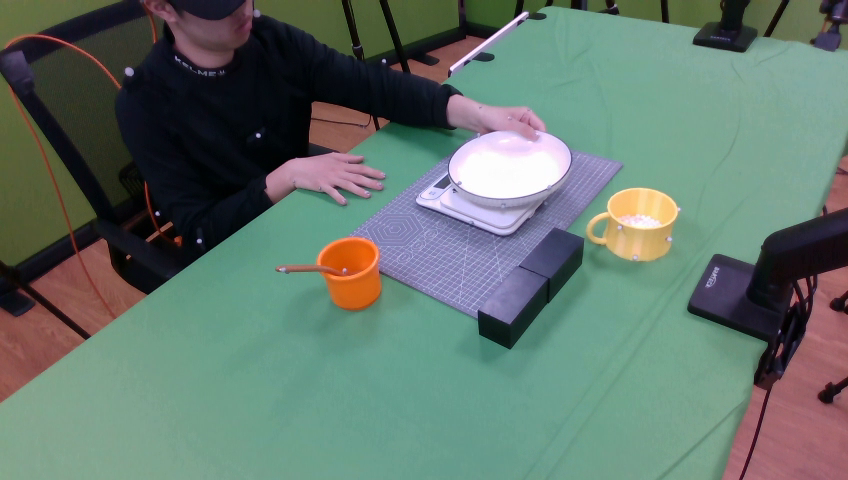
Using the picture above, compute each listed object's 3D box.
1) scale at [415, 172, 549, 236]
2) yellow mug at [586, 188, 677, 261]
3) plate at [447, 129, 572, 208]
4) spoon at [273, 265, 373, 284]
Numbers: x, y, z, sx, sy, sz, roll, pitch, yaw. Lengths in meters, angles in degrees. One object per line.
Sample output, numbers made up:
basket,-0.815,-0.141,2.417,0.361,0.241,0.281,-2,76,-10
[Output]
scale,0.099,-0.079,1.035,0.199,0.032,0.149,23,48,31
yellow mug,0.311,-0.022,0.916,0.131,0.064,0.099,-8,40,0
plate,0.144,-0.118,1.016,0.209,0.038,0.208,-7,40,7
spoon,-0.136,0.045,0.839,0.041,0.195,0.021,18,91,33
